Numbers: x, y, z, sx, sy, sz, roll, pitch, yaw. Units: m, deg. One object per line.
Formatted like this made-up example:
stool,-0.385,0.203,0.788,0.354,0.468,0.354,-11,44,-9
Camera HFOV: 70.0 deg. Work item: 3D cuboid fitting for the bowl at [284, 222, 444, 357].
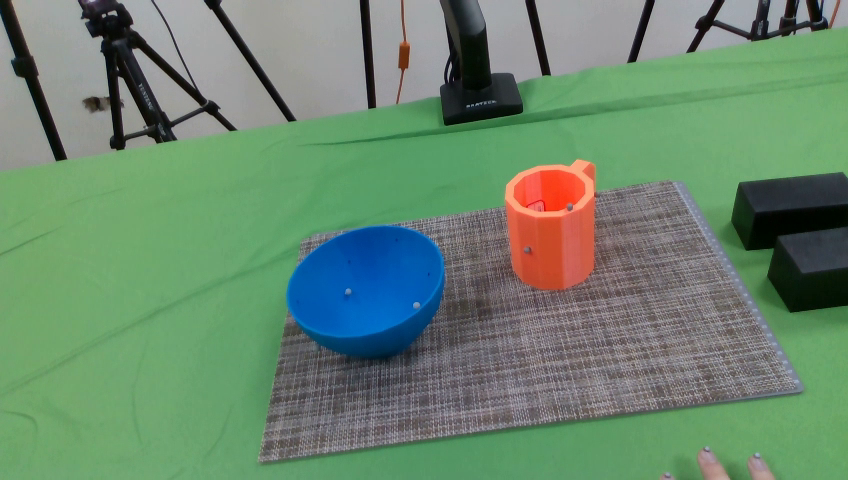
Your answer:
bowl,-0.050,0.060,0.585,0.151,0.077,0.150,-7,40,7

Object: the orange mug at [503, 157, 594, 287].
orange mug,0.138,-0.026,0.621,0.083,0.102,0.126,22,55,34
